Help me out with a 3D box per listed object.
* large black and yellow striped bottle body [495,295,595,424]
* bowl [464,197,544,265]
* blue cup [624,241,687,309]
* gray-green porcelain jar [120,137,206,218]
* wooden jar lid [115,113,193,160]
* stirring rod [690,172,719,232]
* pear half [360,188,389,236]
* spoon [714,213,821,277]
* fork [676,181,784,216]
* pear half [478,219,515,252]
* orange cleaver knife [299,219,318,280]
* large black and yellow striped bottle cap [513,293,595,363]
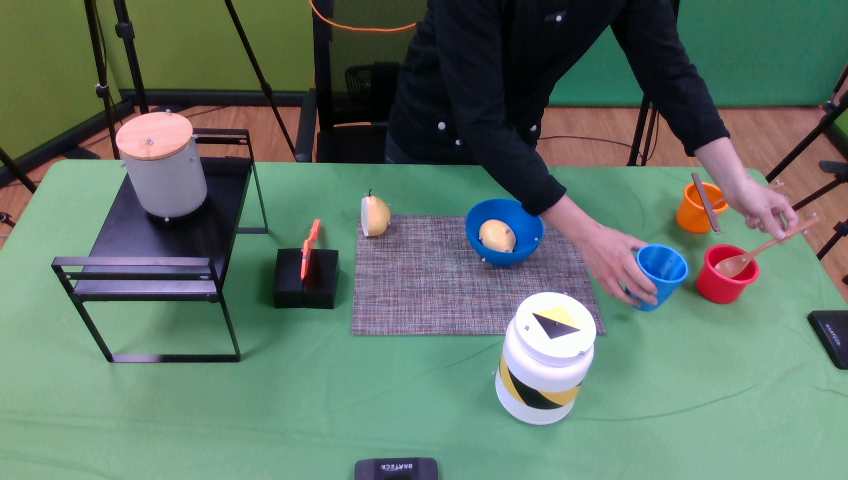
[{"bbox_3d":[0.183,0.182,0.923,0.131,0.185,0.130,2,46,-2],"label":"large black and yellow striped bottle body"},{"bbox_3d":[0.149,-0.004,1.167,0.151,0.077,0.150,3,46,-3],"label":"bowl"},{"bbox_3d":[0.388,0.066,1.039,0.093,0.101,0.092,2,47,-2],"label":"blue cup"},{"bbox_3d":[-0.403,-0.106,0.946,0.106,0.127,0.105,3,46,-2],"label":"gray-green porcelain jar"},{"bbox_3d":[-0.399,-0.151,0.900,0.108,0.021,0.107,3,46,-3],"label":"wooden jar lid"},{"bbox_3d":[0.566,-0.080,1.225,0.014,0.006,0.175,3,46,2],"label":"stirring rod"},{"bbox_3d":[-0.096,-0.060,1.181,0.056,0.110,0.076,-13,52,-17],"label":"pear half"},{"bbox_3d":[0.609,0.009,1.080,0.022,0.194,0.041,27,39,-30],"label":"spoon"},{"bbox_3d":[0.618,-0.084,1.234,0.019,0.207,0.028,56,40,-15],"label":"fork"},{"bbox_3d":[0.143,-0.010,1.164,0.070,0.031,0.087,-18,55,-13],"label":"pear half"},{"bbox_3d":[-0.214,0.013,1.126,0.012,0.077,0.210,5,17,-5],"label":"orange cleaver knife"},{"bbox_3d":[0.186,0.123,0.863,0.115,0.019,0.114,3,45,-3],"label":"large black and yellow striped bottle cap"}]
